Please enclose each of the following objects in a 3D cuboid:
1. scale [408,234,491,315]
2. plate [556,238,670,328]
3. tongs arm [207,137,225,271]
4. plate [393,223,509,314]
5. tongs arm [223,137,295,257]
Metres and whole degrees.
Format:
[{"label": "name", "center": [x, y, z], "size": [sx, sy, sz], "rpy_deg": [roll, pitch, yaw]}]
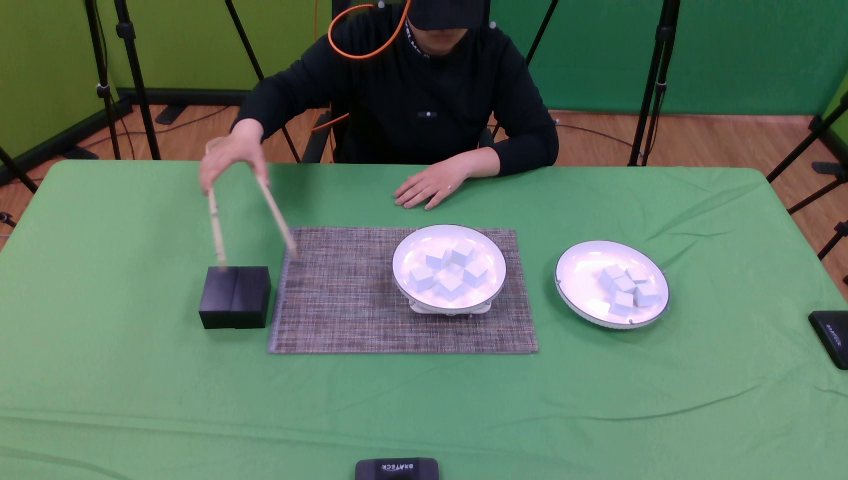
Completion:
[{"label": "scale", "center": [0.045, 0.055, 1.135], "size": [0.149, 0.032, 0.199], "rpy_deg": [1, 46, -3]}, {"label": "plate", "center": [0.347, 0.083, 1.130], "size": [0.209, 0.038, 0.208], "rpy_deg": [2, 47, -2]}, {"label": "tongs arm", "center": [-0.351, -0.078, 1.054], "size": [0.051, 0.026, 0.382], "rpy_deg": [-12, 40, -17]}, {"label": "plate", "center": [0.048, 0.053, 1.091], "size": [0.208, 0.039, 0.206], "rpy_deg": [1, 46, -1]}, {"label": "tongs arm", "center": [-0.295, -0.089, 1.074], "size": [0.028, 0.028, 0.385], "rpy_deg": [-20, 43, -20]}]
